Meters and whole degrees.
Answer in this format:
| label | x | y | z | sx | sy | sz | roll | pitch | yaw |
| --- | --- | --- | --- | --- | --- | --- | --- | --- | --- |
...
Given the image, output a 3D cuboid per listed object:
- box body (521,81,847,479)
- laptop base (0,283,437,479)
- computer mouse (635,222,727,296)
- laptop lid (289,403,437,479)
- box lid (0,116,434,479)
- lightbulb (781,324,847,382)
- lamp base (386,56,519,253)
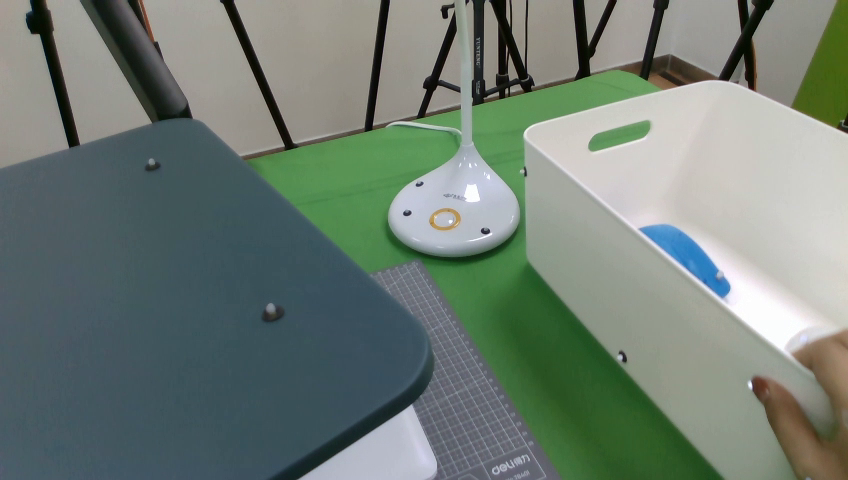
| label | x | y | z | sx | sy | sz | roll | pitch | yaw |
| --- | --- | --- | --- | --- | --- | --- | --- | --- | --- |
| box body | 0.274 | 0.015 | 0.532 | 0.255 | 0.162 | 0.359 | -17 | 39 | -16 |
| laptop base | -0.192 | 0.161 | 0.503 | 0.355 | 0.023 | 0.232 | -16 | 43 | -15 |
| computer mouse | 0.250 | 0.020 | 0.619 | 0.063 | 0.041 | 0.116 | -14 | 42 | -19 |
| laptop lid | -0.192 | 0.153 | 0.494 | 0.357 | 0.013 | 0.239 | -15 | 42 | -14 |
| box lid | -0.196 | 0.025 | 0.335 | 0.263 | 0.015 | 0.367 | -26 | 41 | -26 |
| lightbulb | 0.336 | 0.113 | 0.481 | 0.059 | 0.060 | 0.107 | -30 | 64 | -30 |
| lamp base | 0.033 | -0.105 | 0.693 | 0.160 | 0.182 | 0.178 | 5 | 37 | 11 |
